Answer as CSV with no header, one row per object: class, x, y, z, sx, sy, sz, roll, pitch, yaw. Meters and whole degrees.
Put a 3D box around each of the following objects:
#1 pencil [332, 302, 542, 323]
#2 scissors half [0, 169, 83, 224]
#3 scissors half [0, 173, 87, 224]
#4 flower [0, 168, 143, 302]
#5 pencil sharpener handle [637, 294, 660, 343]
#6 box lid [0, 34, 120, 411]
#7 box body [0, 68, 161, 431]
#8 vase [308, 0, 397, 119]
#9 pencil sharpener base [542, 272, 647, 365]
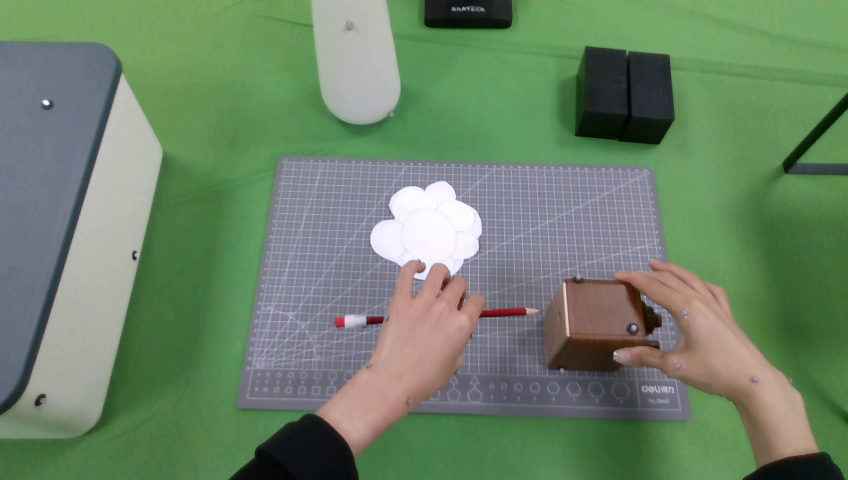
pencil,0.013,0.065,0.555,0.194,0.012,0.012,-3,64,-4
scissors half,-0.463,-0.025,0.679,0.175,0.040,0.012,-31,30,-7
scissors half,-0.467,-0.035,0.671,0.175,0.040,0.012,-23,35,-13
flower,-0.428,0.029,0.666,0.038,0.044,0.359,-6,39,32
pencil sharpener handle,0.213,0.078,0.573,0.030,0.068,0.035,2,51,0
box lid,-0.429,-0.038,0.521,0.263,0.015,0.368,1,65,-2
box body,-0.429,-0.003,0.588,0.254,0.161,0.361,0,65,0
vase,-0.082,-0.228,0.680,0.098,0.201,0.097,0,63,1
pencil sharpener base,0.161,0.079,0.585,0.077,0.108,0.061,2,63,0
